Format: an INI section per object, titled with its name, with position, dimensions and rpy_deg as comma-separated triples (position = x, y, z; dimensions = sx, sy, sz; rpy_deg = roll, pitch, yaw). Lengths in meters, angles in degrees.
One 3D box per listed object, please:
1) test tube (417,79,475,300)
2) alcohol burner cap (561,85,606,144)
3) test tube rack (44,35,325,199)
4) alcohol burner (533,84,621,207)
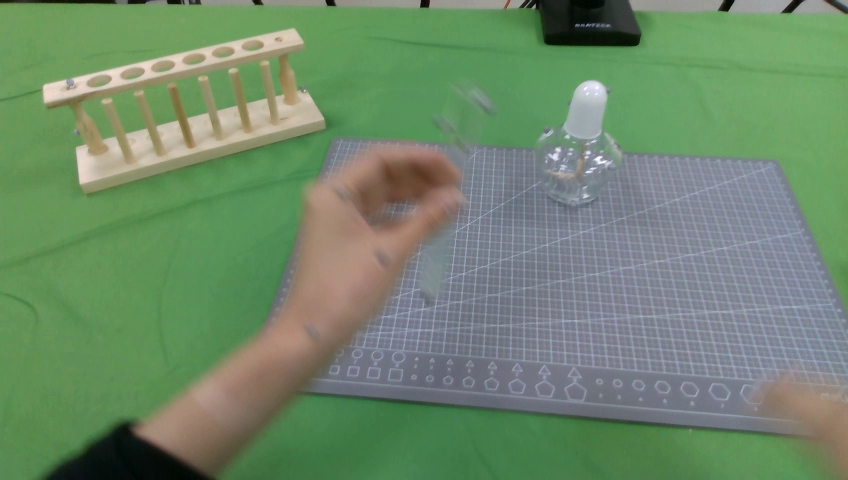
[test tube]
position = 0.011, -0.021, 0.353
dimensions = 0.017, 0.151, 0.017
rpy_deg = 5, 39, -4
[alcohol burner cap]
position = 0.138, -0.109, 0.516
dimensions = 0.034, 0.048, 0.033
rpy_deg = 2, 45, -1
[test tube rack]
position = -0.230, -0.127, 0.608
dimensions = 0.243, 0.086, 0.066
rpy_deg = -19, 48, -17
[alcohol burner]
position = 0.138, -0.087, 0.537
dimensions = 0.078, 0.120, 0.077
rpy_deg = 0, 47, 0
